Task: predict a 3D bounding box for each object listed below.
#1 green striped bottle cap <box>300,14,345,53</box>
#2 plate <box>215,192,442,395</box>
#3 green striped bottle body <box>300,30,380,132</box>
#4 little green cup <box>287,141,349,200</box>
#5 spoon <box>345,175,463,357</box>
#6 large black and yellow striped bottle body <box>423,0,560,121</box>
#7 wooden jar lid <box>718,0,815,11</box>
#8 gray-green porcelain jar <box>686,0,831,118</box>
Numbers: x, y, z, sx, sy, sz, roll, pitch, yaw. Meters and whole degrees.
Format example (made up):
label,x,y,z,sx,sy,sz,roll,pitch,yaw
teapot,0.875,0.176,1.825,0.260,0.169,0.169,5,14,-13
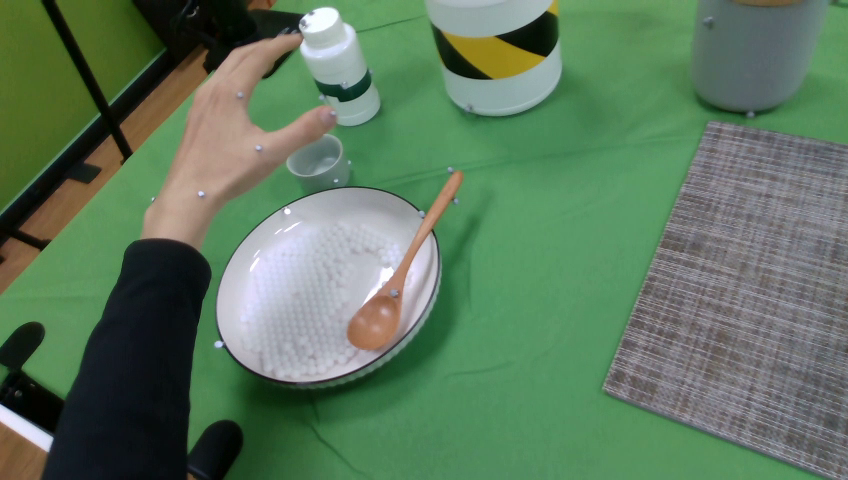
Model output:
label,x,y,z,sx,sy,sz,roll,pitch,yaw
green striped bottle cap,-0.106,-0.215,0.632,0.044,0.020,0.044,-6,55,9
plate,-0.083,0.046,0.549,0.209,0.038,0.207,-7,52,10
green striped bottle body,-0.095,-0.183,0.672,0.063,0.120,0.062,-8,52,10
little green cup,-0.111,-0.071,0.644,0.061,0.039,0.061,-8,51,10
spoon,-0.010,0.017,0.530,0.041,0.022,0.193,20,69,26
large black and yellow striped bottle body,0.069,-0.229,0.620,0.130,0.186,0.129,-8,52,10
wooden jar lid,0.290,-0.225,0.514,0.108,0.021,0.107,-8,54,11
gray-green porcelain jar,0.304,-0.187,0.561,0.106,0.128,0.105,-7,52,10
